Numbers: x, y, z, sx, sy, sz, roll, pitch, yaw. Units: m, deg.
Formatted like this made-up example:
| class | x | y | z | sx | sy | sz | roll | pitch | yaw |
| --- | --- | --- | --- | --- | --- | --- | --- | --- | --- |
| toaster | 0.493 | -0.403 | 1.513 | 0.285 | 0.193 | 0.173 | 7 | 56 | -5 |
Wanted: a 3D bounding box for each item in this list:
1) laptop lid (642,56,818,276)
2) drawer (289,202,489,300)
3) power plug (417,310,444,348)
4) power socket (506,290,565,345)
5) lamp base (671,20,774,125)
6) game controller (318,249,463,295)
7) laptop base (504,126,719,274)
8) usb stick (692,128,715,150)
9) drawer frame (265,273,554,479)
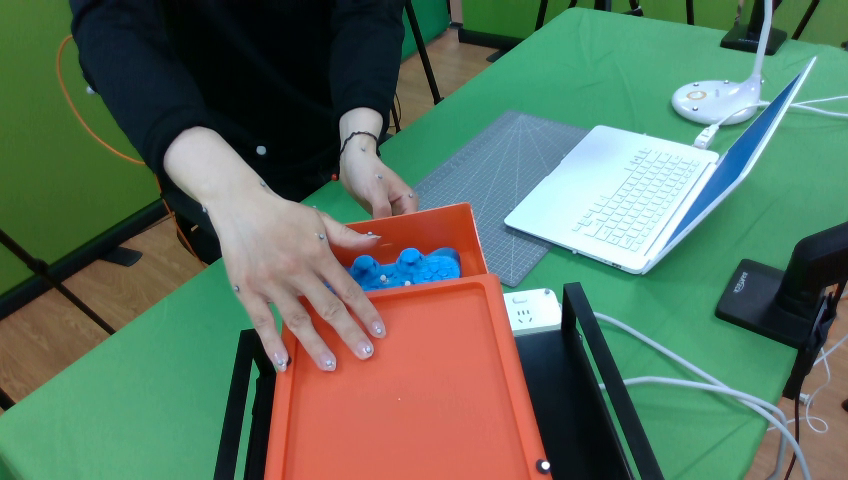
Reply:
| class | x | y | z | sx | sy | sz | roll | pitch | yaw |
| --- | --- | --- | --- | --- | --- | --- | --- | --- | --- |
| laptop lid | 0.445 | -0.108 | 0.876 | 0.013 | 0.241 | 0.357 | 39 | 53 | 12 |
| drawer | -0.030 | 0.065 | 0.580 | 0.195 | 0.073 | 0.210 | -8 | 41 | -2 |
| power plug | 0.007 | 0.123 | 0.784 | 0.035 | 0.053 | 0.072 | -2 | 43 | 8 |
| power socket | 0.081 | 0.112 | 0.821 | 0.227 | 0.033 | 0.072 | -6 | 40 | 0 |
| lamp base | 0.581 | -0.332 | 1.154 | 0.179 | 0.181 | 0.160 | 2 | 41 | 7 |
| game controller | -0.035 | 0.043 | 0.621 | 0.155 | 0.052 | 0.096 | -9 | 44 | -1 |
| laptop base | 0.325 | -0.083 | 1.027 | 0.233 | 0.023 | 0.355 | 21 | 48 | 32 |
| usb stick | 0.501 | -0.175 | 1.091 | 0.021 | 0.027 | 0.059 | 29 | 55 | 29 |
| drawer frame | -0.016 | 0.135 | 0.492 | 0.202 | 0.083 | 0.212 | -8 | 41 | -2 |
